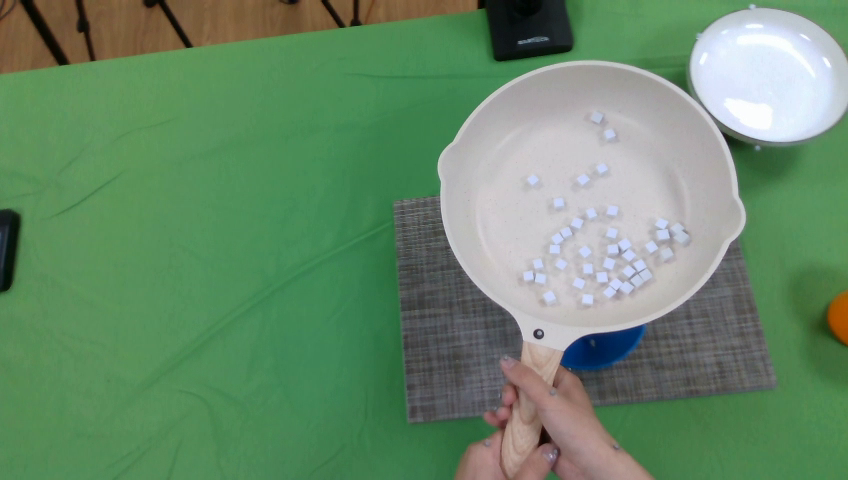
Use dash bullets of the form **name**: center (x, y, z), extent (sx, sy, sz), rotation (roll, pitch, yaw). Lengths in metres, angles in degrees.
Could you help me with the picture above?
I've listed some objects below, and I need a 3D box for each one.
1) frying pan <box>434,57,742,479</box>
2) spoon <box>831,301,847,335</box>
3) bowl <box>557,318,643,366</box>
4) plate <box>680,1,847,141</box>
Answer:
- **frying pan**: center (0.130, 0.044, 0.604), extent (0.305, 0.103, 0.485), rotation (14, 69, 15)
- **spoon**: center (0.568, 0.061, 0.689), extent (0.022, 0.194, 0.041), rotation (0, 63, -43)
- **bowl**: center (0.181, 0.083, 0.738), extent (0.151, 0.077, 0.150), rotation (-1, 71, 3)
- **plate**: center (0.443, -0.220, 0.803), extent (0.207, 0.039, 0.206), rotation (-1, 72, 3)
